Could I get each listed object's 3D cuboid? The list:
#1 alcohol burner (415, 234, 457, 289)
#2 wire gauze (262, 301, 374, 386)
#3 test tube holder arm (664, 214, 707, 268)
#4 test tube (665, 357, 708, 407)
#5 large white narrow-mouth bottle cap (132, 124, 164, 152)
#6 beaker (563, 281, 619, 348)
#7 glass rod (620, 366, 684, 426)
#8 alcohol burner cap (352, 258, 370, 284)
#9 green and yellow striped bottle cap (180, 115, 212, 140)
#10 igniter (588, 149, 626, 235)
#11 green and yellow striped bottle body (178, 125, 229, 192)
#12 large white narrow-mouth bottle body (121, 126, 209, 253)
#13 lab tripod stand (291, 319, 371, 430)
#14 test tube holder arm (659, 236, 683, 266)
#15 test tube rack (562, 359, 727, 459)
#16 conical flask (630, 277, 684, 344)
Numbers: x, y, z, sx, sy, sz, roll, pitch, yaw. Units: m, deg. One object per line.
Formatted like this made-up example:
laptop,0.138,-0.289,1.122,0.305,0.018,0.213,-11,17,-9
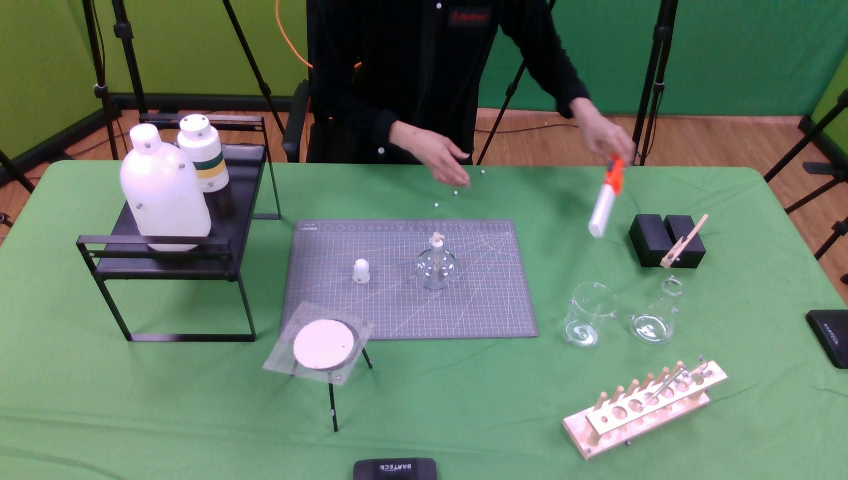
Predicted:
alcohol burner,0.022,0.033,1.100,0.078,0.120,0.077,1,47,-1
wire gauze,-0.150,0.148,0.873,0.121,0.011,0.124,14,46,12
test tube holder arm,0.507,-0.001,1.171,0.013,0.015,0.178,34,54,26
test tube,0.387,0.216,0.905,0.017,0.151,0.017,1,53,-1
large white narrow-mouth bottle cap,-0.370,-0.137,0.813,0.038,0.024,0.037,3,46,-3
beaker,0.283,0.129,1.041,0.074,0.101,0.083,11,46,6
glass rod,0.322,0.227,0.866,0.008,0.200,0.008,5,51,-7
alcohol burner cap,-0.117,0.055,1.118,0.034,0.048,0.033,2,46,-1
green and yellow striped bottle cap,-0.358,-0.177,0.951,0.045,0.020,0.045,1,45,-1
igniter,0.361,-0.102,1.182,0.025,0.057,0.275,-10,32,36
green and yellow striped bottle body,-0.361,-0.142,0.989,0.063,0.120,0.063,2,46,-2
large white narrow-mouth bottle body,-0.378,-0.077,0.875,0.102,0.195,0.101,3,46,-3
lab tripod stand,-0.146,0.194,0.923,0.148,0.132,0.147,1,47,-1
test tube holder arm,0.472,0.020,1.149,0.010,0.015,0.088,35,54,27
test tube rack,0.341,0.247,0.940,0.243,0.085,0.066,-16,49,-18
conical flask,0.408,0.117,1.045,0.075,0.122,0.075,2,46,-2
